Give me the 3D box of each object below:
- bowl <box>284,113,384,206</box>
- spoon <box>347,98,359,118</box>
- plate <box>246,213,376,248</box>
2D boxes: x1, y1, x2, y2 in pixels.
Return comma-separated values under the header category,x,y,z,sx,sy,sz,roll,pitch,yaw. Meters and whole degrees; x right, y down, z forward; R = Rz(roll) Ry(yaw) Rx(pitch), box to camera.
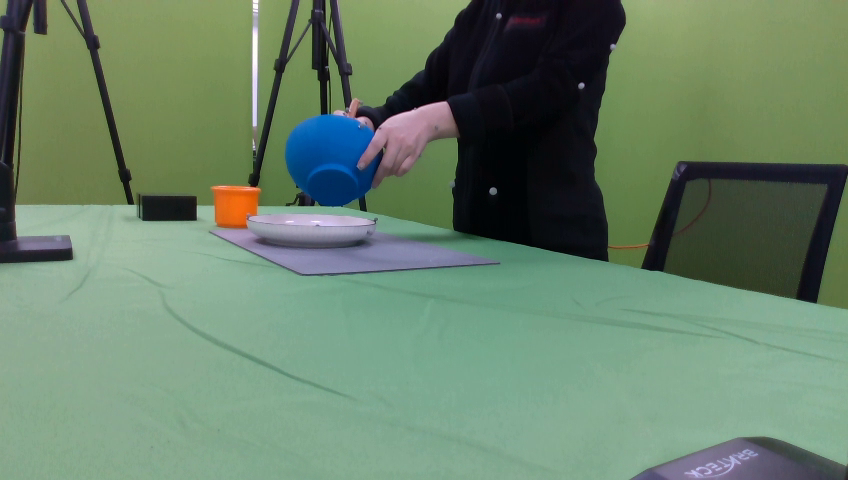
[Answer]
category,x,y,z,sx,sy,sz,roll,pitch,yaw
bowl,-0.135,-0.103,0.894,0.152,0.151,0.076,2,46,-5
spoon,-0.133,-0.155,0.975,0.041,0.193,0.021,11,-31,-1
plate,-0.185,-0.017,0.994,0.209,0.038,0.209,3,8,0
